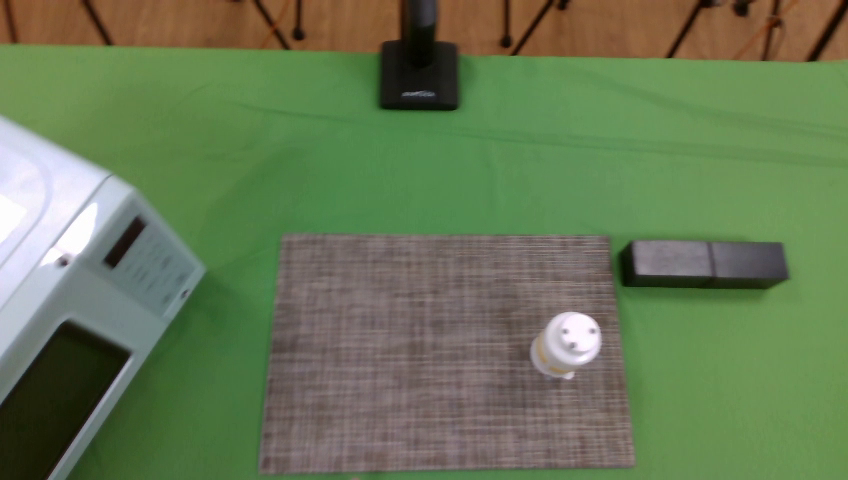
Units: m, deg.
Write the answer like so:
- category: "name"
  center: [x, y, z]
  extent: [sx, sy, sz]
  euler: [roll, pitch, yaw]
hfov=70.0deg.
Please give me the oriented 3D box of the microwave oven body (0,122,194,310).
- category: "microwave oven body"
  center: [-0.518, 0.100, 0.620]
  extent: [0.325, 0.261, 0.440]
  euler: [26, 71, 6]

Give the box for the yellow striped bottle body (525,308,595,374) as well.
- category: "yellow striped bottle body"
  center: [0.163, 0.120, 0.724]
  extent: [0.063, 0.121, 0.062]
  euler: [1, 69, -2]

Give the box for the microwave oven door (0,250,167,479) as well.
- category: "microwave oven door"
  center: [-0.406, 0.197, 0.585]
  extent: [0.039, 0.245, 0.354]
  euler: [26, 70, 7]

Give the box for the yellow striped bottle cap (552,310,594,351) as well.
- category: "yellow striped bottle cap"
  center: [0.166, 0.101, 0.675]
  extent: [0.044, 0.019, 0.044]
  euler: [1, 72, -2]

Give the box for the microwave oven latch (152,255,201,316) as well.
- category: "microwave oven latch"
  center: [-0.311, 0.052, 0.752]
  extent: [0.030, 0.029, 0.079]
  euler: [28, 71, 7]
